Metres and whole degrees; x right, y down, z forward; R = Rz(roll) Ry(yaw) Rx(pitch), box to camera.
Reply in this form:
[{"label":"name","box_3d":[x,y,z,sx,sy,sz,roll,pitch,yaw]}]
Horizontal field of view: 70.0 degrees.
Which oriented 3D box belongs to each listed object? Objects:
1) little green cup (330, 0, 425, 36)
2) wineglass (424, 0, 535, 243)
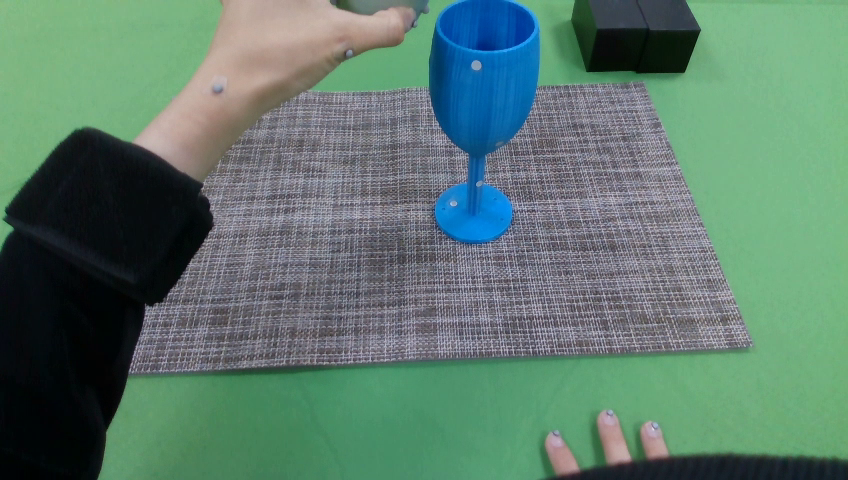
[{"label":"little green cup","box_3d":[-0.026,-0.151,0.351,0.062,0.039,0.061,12,54,-17]},{"label":"wineglass","box_3d":[0.036,-0.077,0.432,0.074,0.174,0.073,0,51,1]}]
